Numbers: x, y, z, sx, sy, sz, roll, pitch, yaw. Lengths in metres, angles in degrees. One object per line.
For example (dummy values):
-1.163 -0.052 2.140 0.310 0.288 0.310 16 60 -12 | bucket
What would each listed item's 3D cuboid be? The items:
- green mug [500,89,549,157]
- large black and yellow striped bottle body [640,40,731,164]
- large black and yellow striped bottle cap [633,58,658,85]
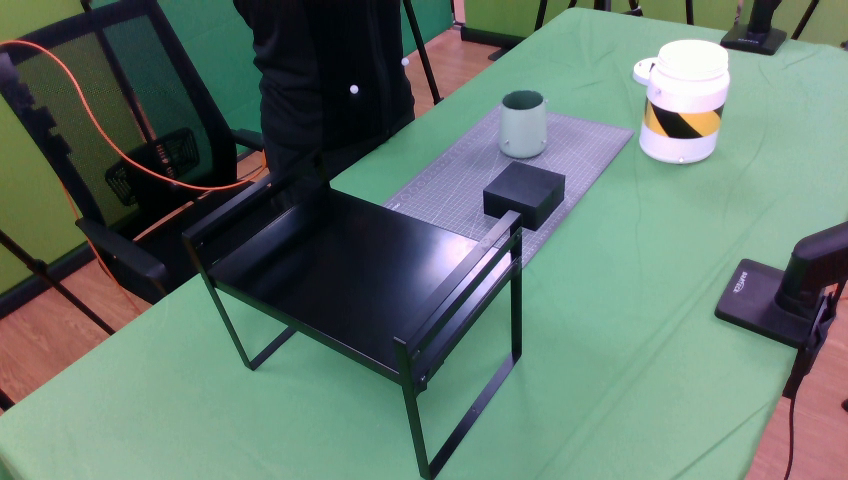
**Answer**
0.195 -0.228 1.145 0.092 0.105 0.125 14 45 25 | green mug
0.459 -0.242 1.064 0.131 0.185 0.130 -4 41 4 | large black and yellow striped bottle body
0.522 -0.370 1.332 0.115 0.019 0.114 -3 41 3 | large black and yellow striped bottle cap
